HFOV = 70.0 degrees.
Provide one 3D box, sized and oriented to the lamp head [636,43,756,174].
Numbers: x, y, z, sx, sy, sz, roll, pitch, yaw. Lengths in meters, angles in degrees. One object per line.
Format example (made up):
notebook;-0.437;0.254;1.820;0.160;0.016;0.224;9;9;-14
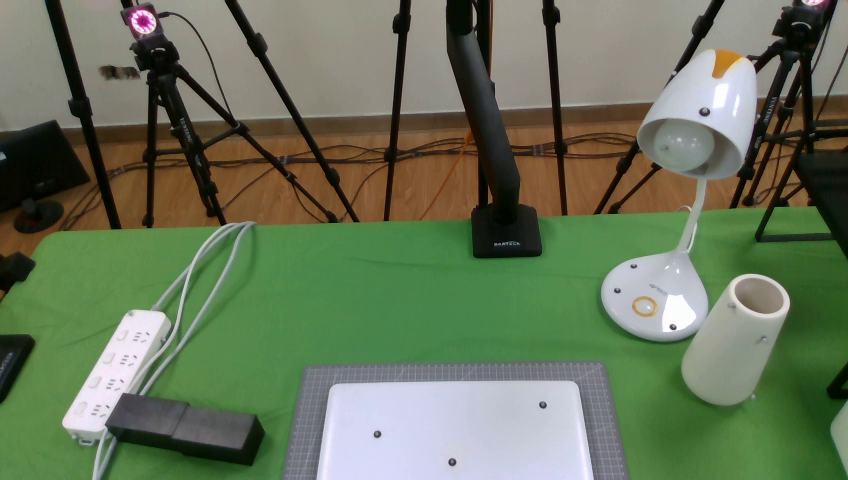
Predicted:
lamp head;0.306;-0.147;0.658;0.111;0.113;0.122;22;71;23

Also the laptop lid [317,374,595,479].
laptop lid;0.039;0.281;0.784;0.356;0.013;0.239;0;50;4

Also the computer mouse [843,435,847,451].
computer mouse;0.571;0.282;0.737;0.063;0.041;0.116;-8;39;4

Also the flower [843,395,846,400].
flower;0.566;0.340;0.665;0.038;0.044;0.358;-35;47;34

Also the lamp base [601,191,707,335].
lamp base;0.364;0.022;0.906;0.159;0.182;0.179;26;51;25

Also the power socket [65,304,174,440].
power socket;-0.453;0.189;0.913;0.072;0.033;0.225;5;47;8

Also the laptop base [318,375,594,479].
laptop base;0.039;0.287;0.795;0.354;0.023;0.233;-1;51;3

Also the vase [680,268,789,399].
vase;0.404;0.125;0.795;0.098;0.202;0.097;-3;46;4

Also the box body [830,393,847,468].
box body;0.640;0.306;0.634;0.254;0.162;0.360;-1;47;4
